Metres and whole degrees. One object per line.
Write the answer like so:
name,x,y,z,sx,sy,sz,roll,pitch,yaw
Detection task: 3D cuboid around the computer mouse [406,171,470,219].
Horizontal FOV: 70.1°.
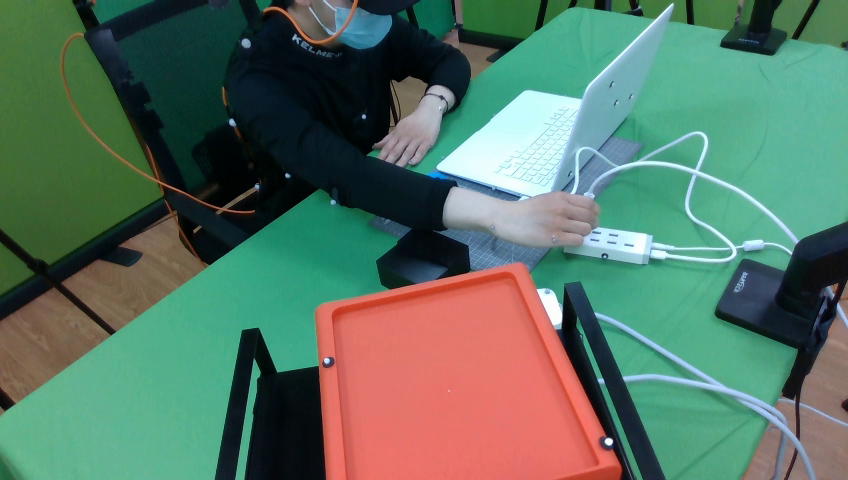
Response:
computer mouse,0.024,-0.082,1.049,0.063,0.041,0.116,-29,50,-28

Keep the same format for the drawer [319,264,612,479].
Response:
drawer,0.020,0.129,0.497,0.195,0.073,0.210,-11,41,-5

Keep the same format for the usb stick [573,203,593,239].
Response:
usb stick,0.240,-0.024,0.914,0.021,0.059,0.027,12,40,16

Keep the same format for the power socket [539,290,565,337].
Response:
power socket,0.081,0.112,0.822,0.227,0.033,0.072,-6,41,0

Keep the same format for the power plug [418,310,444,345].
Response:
power plug,0.007,0.122,0.785,0.035,0.053,0.072,0,39,7

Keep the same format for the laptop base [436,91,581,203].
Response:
laptop base,0.215,-0.192,1.172,0.233,0.023,0.355,19,46,32

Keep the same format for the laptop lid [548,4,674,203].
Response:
laptop lid,0.321,-0.235,1.026,0.013,0.242,0.357,31,50,20

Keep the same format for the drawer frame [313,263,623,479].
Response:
drawer frame,0.021,0.129,0.494,0.202,0.083,0.212,-11,41,-6

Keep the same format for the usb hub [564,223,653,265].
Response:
usb hub,0.281,0.005,0.924,0.124,0.025,0.049,10,43,19
